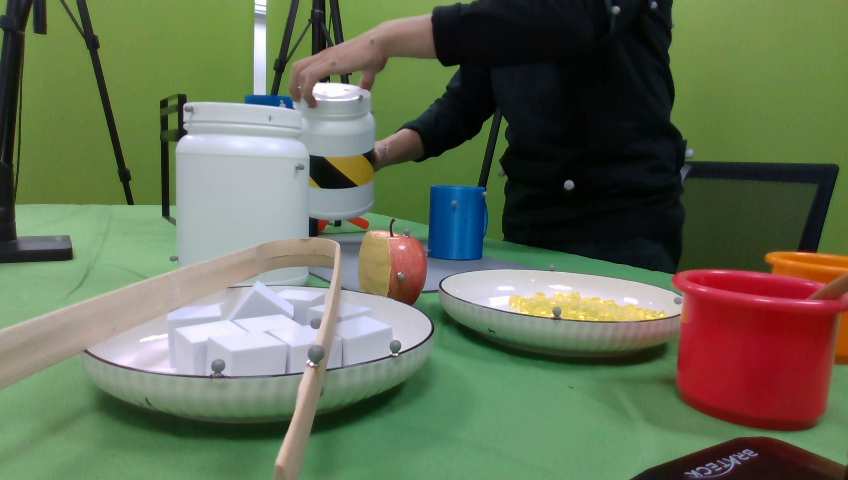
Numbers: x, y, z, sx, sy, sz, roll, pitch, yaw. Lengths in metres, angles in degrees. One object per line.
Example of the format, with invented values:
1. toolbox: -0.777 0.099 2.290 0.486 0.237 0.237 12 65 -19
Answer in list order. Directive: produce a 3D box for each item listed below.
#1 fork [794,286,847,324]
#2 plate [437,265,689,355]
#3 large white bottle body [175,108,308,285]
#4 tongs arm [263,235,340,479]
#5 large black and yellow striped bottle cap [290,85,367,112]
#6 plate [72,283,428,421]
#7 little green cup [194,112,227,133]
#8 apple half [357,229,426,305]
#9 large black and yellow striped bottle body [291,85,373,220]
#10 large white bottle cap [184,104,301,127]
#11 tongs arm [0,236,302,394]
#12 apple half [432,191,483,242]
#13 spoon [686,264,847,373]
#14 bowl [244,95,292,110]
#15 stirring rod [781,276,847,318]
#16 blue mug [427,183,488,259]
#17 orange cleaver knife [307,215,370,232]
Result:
1. fork: 0.332 0.018 0.443 0.028 0.018 0.207 -1 -36 -15
2. plate: 0.114 0.057 0.517 0.209 0.038 0.209 3 8 0
3. large white bottle body: -0.188 -0.042 0.630 0.131 0.184 0.130 2 8 0
4. tongs arm: -0.074 0.039 0.349 0.051 0.026 0.384 -2 9 -3
5. large black and yellow striped bottle cap: -0.143 -0.212 0.904 0.115 0.019 0.115 3 25 -1
6. plate: -0.102 0.066 0.381 0.208 0.039 0.207 2 7 0
7. little green cup: -0.412 -0.228 1.171 0.061 0.038 0.061 2 8 0
8. apple half: -0.026 0.028 0.570 0.053 0.074 0.080 3 2 -28
9. large black and yellow striped bottle body: -0.145 -0.138 0.941 0.131 0.184 0.130 2 26 -1
10. large white bottle cap: -0.184 -0.126 0.618 0.115 0.018 0.115 2 8 0
11. tongs arm: -0.157 0.038 0.351 0.028 0.028 0.388 -3 8 11
12. apple half: 0.049 -0.037 0.905 0.081 0.081 0.033 2 15 -2
13. spoon: 0.214 0.032 0.328 0.042 0.021 0.193 -3 -35 -26
14. bowl: -0.293 -0.251 1.249 0.151 0.077 0.151 2 8 0
15. stirring rod: 0.344 0.019 0.461 0.014 0.006 0.176 -13 -27 -30
16. blue mug: 0.059 -0.031 0.907 0.082 0.106 0.117 9 10 42
17. orange cleaver knife: -0.196 -0.056 1.140 0.212 0.077 0.012 29 0 -34
